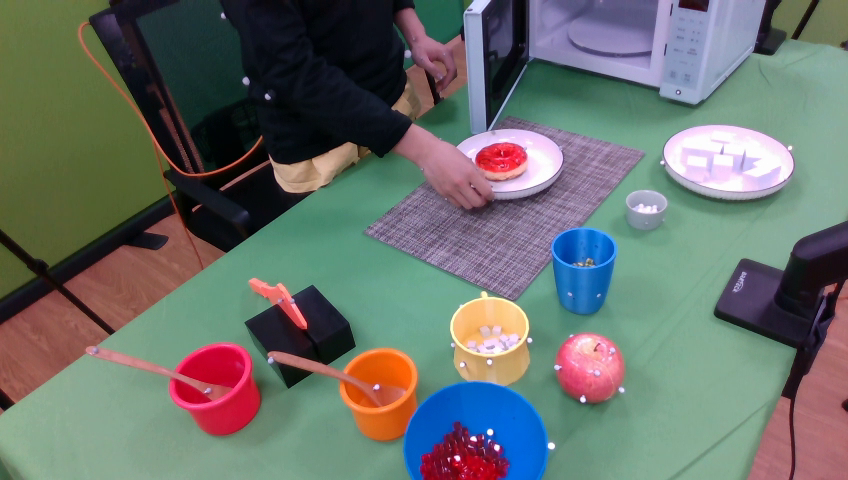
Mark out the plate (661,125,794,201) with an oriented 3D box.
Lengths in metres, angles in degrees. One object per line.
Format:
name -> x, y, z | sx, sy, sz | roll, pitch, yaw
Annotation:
plate -> 0.513, -0.128, 1.035 | 0.207, 0.039, 0.206 | -4, 40, 4

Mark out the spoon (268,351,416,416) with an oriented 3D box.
spoon -> -0.090, 0.162, 0.699 | 0.021, 0.195, 0.041 | -44, 31, 27

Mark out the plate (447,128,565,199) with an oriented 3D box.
plate -> 0.147, -0.134, 1.092 | 0.209, 0.038, 0.208 | -4, 40, 4

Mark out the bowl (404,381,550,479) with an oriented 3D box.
bowl -> 0.058, 0.235, 0.645 | 0.151, 0.077, 0.150 | -4, 39, 4

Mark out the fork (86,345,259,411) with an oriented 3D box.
fork -> -0.298, 0.166, 0.728 | 0.209, 0.018, 0.028 | 28, 47, -23

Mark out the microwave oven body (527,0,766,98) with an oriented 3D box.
microwave oven body -> 0.472, -0.513, 1.317 | 0.438, 0.261, 0.327 | 26, 51, 34

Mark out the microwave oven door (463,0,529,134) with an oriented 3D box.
microwave oven door -> 0.156, -0.410, 1.236 | 0.039, 0.245, 0.355 | 10, 43, 19

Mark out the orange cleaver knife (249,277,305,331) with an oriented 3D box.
orange cleaver knife -> -0.210, 0.088, 0.855 | 0.012, 0.077, 0.210 | -28, 15, -25

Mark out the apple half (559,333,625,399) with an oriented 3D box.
apple half -> 0.209, 0.147, 0.730 | 0.080, 0.075, 0.053 | 26, 48, 38

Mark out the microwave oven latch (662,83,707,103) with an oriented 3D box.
microwave oven latch -> 0.517, -0.296, 1.204 | 0.078, 0.029, 0.030 | 27, 52, 35

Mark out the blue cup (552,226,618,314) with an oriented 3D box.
blue cup -> 0.218, 0.047, 0.826 | 0.092, 0.101, 0.092 | -6, 40, 5

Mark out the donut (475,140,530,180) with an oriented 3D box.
donut -> 0.141, -0.145, 1.089 | 0.099, 0.048, 0.098 | -5, 38, 5

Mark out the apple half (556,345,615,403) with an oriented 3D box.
apple half -> 0.181, 0.167, 0.709 | 0.080, 0.081, 0.033 | 29, 50, 35

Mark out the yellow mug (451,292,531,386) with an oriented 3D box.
yellow mug -> 0.085, 0.120, 0.786 | 0.100, 0.064, 0.130 | -7, 39, 1

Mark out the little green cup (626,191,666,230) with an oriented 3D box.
little green cup -> 0.352, -0.046, 0.963 | 0.061, 0.039, 0.061 | -4, 40, 4
